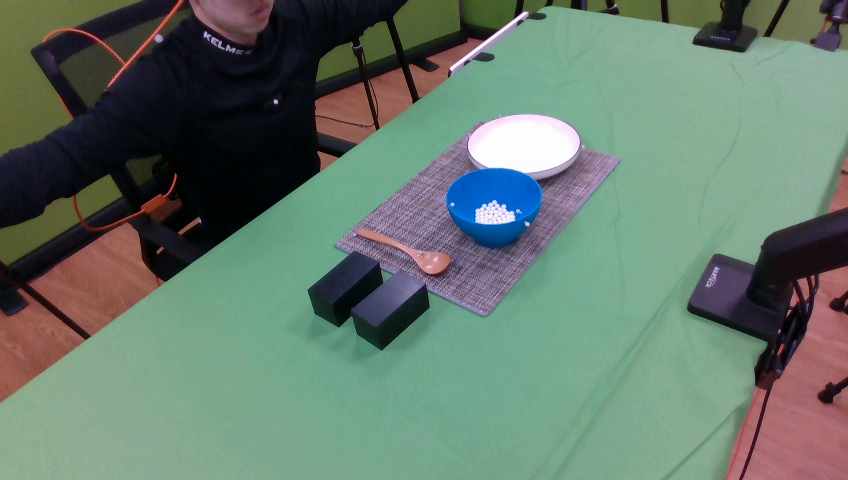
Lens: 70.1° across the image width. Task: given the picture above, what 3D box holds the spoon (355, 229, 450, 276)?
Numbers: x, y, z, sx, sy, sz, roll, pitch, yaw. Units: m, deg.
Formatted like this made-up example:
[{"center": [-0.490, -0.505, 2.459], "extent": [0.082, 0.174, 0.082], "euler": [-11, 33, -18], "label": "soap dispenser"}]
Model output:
[{"center": [-0.038, 0.013, 0.953], "extent": [0.192, 0.022, 0.041], "euler": [24, 67, 31], "label": "spoon"}]

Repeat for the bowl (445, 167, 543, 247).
[{"center": [0.111, -0.041, 0.952], "extent": [0.151, 0.077, 0.150], "euler": [-4, 41, 4], "label": "bowl"}]

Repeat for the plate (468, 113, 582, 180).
[{"center": [0.186, -0.169, 1.122], "extent": [0.207, 0.039, 0.206], "euler": [-4, 40, 4], "label": "plate"}]
